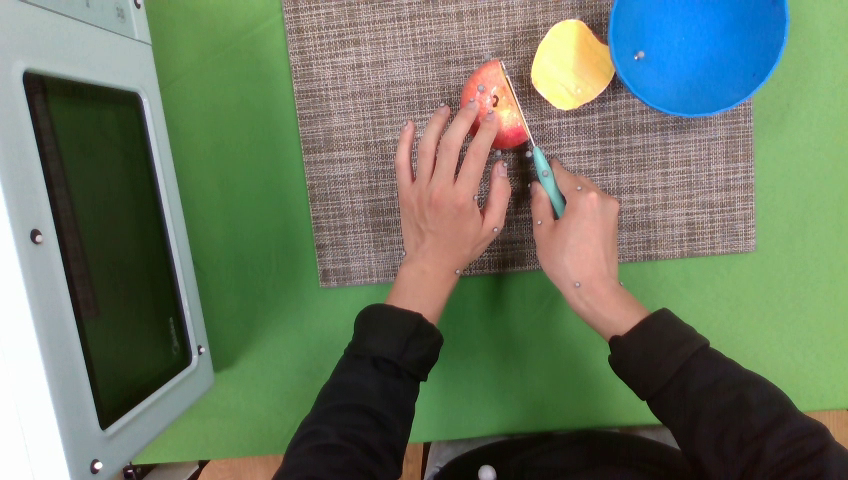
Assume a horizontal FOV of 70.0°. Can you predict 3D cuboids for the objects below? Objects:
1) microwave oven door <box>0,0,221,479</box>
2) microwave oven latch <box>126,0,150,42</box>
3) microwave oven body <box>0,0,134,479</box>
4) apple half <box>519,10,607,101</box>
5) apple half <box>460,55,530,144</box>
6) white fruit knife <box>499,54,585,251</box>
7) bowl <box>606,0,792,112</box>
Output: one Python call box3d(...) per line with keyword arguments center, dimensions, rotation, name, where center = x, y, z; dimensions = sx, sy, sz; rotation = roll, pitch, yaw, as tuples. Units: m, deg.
box3d(center=(-0.268, -0.001, 0.514), dimensions=(0.039, 0.243, 0.356), rotation=(-8, 99, 5), name="microwave oven door")
box3d(center=(-0.288, -0.231, 0.579), dimensions=(0.030, 0.029, 0.079), rotation=(-7, 99, 4), name="microwave oven latch")
box3d(center=(-0.418, -0.025, 0.524), dimensions=(0.326, 0.259, 0.443), rotation=(-7, 99, 4), name="microwave oven body")
box3d(center=(0.128, -0.172, 0.574), dimensions=(0.081, 0.032, 0.081), rotation=(2, 105, 7), name="apple half")
box3d(center=(0.062, -0.127, 0.572), dimensions=(0.053, 0.074, 0.081), rotation=(-23, 101, 16), name="apple half")
box3d(center=(0.112, -0.086, 0.589), dimensions=(0.016, 0.027, 0.207), rotation=(-23, 87, 11), name="white fruit knife")
box3d(center=(0.234, -0.190, 0.548), dimensions=(0.151, 0.076, 0.151), rotation=(1, 99, 4), name="bowl")
